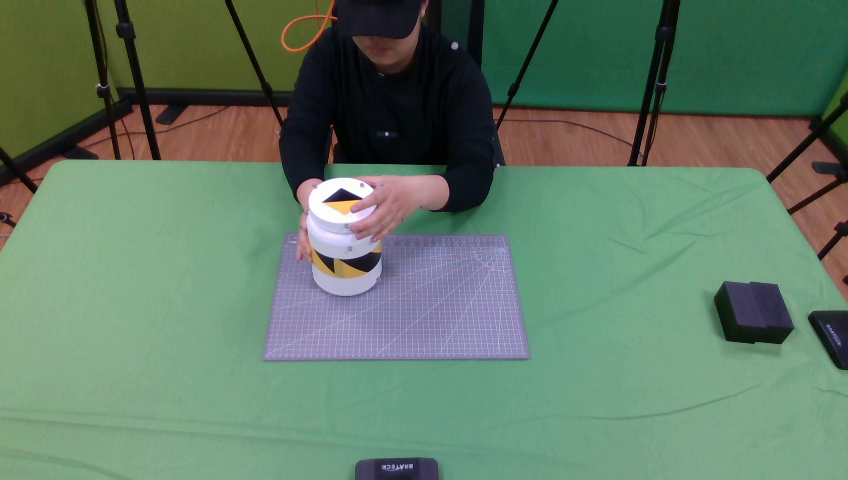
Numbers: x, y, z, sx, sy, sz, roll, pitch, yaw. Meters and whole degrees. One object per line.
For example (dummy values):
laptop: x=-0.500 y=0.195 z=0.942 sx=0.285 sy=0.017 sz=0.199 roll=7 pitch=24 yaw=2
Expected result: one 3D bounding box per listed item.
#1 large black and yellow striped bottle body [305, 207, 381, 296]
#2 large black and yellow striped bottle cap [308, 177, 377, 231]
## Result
large black and yellow striped bottle body: x=-0.141 y=-0.004 z=1.075 sx=0.131 sy=0.185 sz=0.130 roll=2 pitch=46 yaw=-2
large black and yellow striped bottle cap: x=-0.136 y=-0.062 z=1.015 sx=0.115 sy=0.019 sz=0.114 roll=2 pitch=47 yaw=-2
